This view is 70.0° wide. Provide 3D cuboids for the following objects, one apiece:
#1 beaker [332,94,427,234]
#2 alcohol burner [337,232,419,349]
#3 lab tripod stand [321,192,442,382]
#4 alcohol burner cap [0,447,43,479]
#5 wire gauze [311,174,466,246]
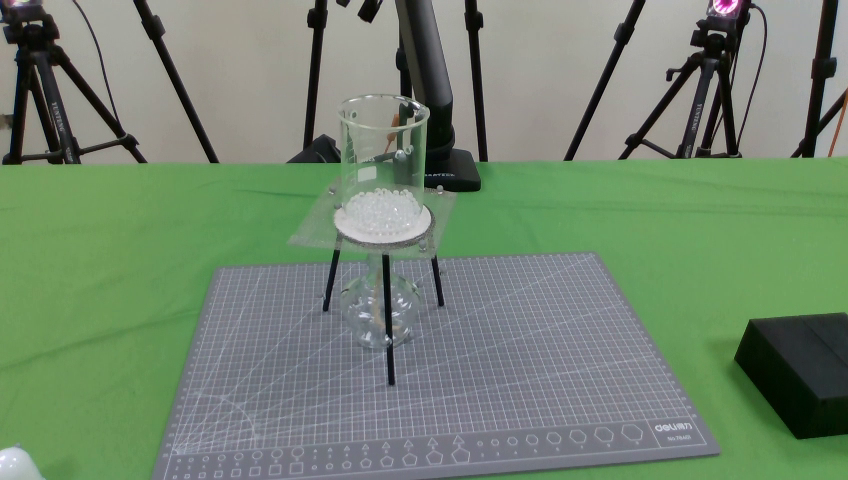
[{"bbox_3d":[-0.034,-0.063,0.508,0.084,0.101,0.073,-25,43,-36],"label":"beaker"},{"bbox_3d":[-0.043,0.043,0.572,0.078,0.120,0.077,3,32,-2],"label":"alcohol burner"},{"bbox_3d":[-0.036,0.035,0.567,0.148,0.132,0.147,3,34,-2],"label":"lab tripod stand"},{"bbox_3d":[-0.295,0.170,0.432,0.034,0.048,0.033,3,32,-1],"label":"alcohol burner cap"},{"bbox_3d":[-0.033,-0.030,0.517,0.125,0.011,0.120,2,30,-11],"label":"wire gauze"}]
